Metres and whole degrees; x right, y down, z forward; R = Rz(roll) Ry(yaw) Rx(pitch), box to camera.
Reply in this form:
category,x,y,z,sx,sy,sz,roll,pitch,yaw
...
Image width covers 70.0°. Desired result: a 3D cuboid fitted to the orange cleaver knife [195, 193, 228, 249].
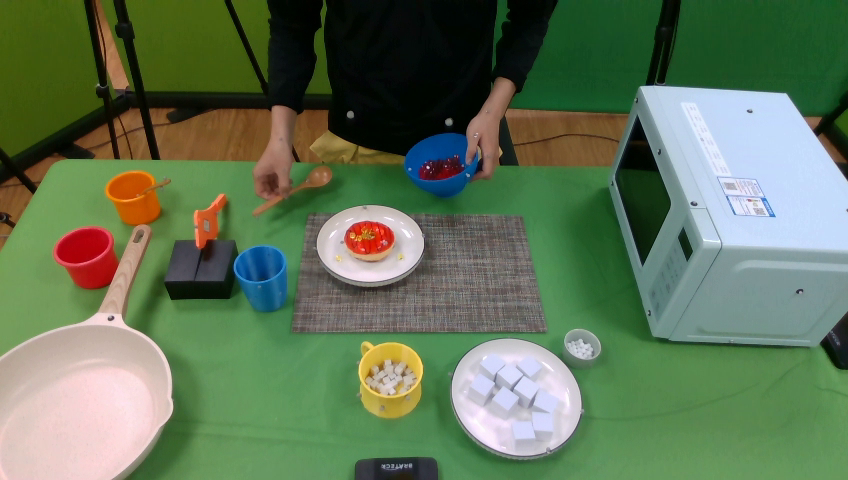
category,x,y,z,sx,sy,sz,roll,pitch,yaw
orange cleaver knife,-0.406,-0.041,1.163,0.012,0.077,0.210,0,18,-3

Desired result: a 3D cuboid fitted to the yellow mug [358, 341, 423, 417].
category,x,y,z,sx,sy,sz,roll,pitch,yaw
yellow mug,-0.062,0.210,0.961,0.100,0.064,0.130,-29,54,-27

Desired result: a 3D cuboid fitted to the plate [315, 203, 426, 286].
category,x,y,z,sx,sy,sz,roll,pitch,yaw
plate,-0.101,0.012,1.159,0.209,0.038,0.208,2,46,-2

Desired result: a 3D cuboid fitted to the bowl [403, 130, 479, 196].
category,x,y,z,sx,sy,sz,roll,pitch,yaw
bowl,0.042,-0.142,1.210,0.151,0.077,0.150,-9,45,10

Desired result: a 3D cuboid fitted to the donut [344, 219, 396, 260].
category,x,y,z,sx,sy,sz,roll,pitch,yaw
donut,-0.103,-0.002,1.157,0.099,0.048,0.098,3,43,-2

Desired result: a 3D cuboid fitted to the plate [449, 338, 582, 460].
category,x,y,z,sx,sy,sz,roll,pitch,yaw
plate,0.141,0.251,0.955,0.208,0.039,0.206,2,46,-2

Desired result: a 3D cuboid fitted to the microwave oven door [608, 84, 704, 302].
category,x,y,z,sx,sy,sz,roll,pitch,yaw
microwave oven door,0.424,-0.096,1.138,0.039,0.245,0.353,2,46,-1

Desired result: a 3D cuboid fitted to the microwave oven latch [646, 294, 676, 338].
category,x,y,z,sx,sy,sz,roll,pitch,yaw
microwave oven latch,0.412,0.133,1.060,0.030,0.029,0.078,3,46,0

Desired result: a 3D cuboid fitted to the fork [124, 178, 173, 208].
category,x,y,z,sx,sy,sz,roll,pitch,yaw
fork,-0.525,-0.090,1.153,0.207,0.019,0.028,-18,27,45

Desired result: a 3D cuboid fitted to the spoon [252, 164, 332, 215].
category,x,y,z,sx,sy,sz,roll,pitch,yaw
spoon,-0.265,-0.102,1.222,0.193,0.022,0.041,-35,82,-34

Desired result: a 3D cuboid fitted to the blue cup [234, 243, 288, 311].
category,x,y,z,sx,sy,sz,roll,pitch,yaw
blue cup,-0.276,0.072,1.052,0.093,0.101,0.092,1,48,-1

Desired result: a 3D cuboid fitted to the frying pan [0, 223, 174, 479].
category,x,y,z,sx,sy,sz,roll,pitch,yaw
frying pan,-0.505,0.169,0.941,0.307,0.103,0.485,5,54,-1

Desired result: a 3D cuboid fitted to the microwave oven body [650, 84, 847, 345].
category,x,y,z,sx,sy,sz,roll,pitch,yaw
microwave oven body,0.569,-0.054,1.116,0.326,0.261,0.439,2,46,-1

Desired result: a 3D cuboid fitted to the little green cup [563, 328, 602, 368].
category,x,y,z,sx,sy,sz,roll,pitch,yaw
little green cup,0.265,0.184,1.025,0.061,0.039,0.061,2,45,-2
